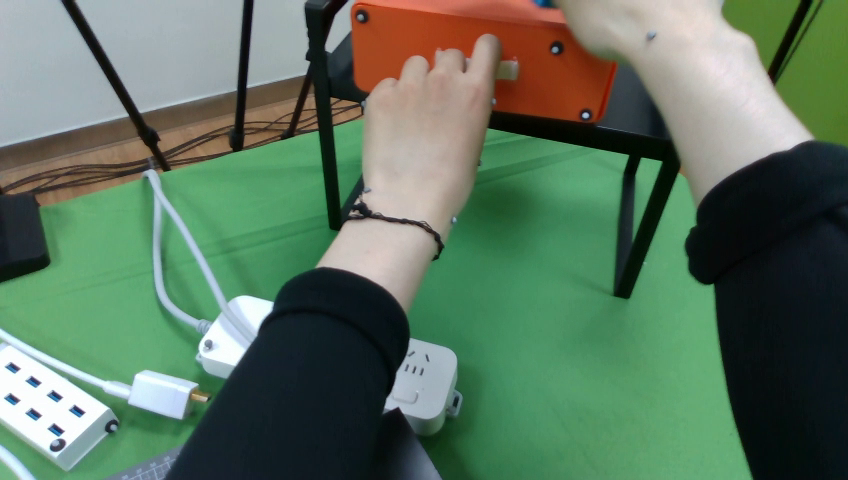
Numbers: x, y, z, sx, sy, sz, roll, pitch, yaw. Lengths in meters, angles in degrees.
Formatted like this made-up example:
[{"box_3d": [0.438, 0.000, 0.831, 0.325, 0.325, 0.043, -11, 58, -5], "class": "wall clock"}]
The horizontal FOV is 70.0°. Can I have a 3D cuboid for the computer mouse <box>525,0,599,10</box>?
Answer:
[{"box_3d": [0.074, -0.201, 0.418, 0.063, 0.041, 0.116, -18, 53, -30], "class": "computer mouse"}]

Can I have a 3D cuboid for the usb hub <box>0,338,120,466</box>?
[{"box_3d": [-0.304, 0.124, 0.473, 0.124, 0.025, 0.049, 23, 47, 19], "class": "usb hub"}]

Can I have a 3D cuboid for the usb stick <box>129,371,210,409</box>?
[{"box_3d": [-0.200, 0.120, 0.482, 0.059, 0.021, 0.027, 10, 87, -14], "class": "usb stick"}]

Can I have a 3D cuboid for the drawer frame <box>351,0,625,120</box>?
[{"box_3d": [0.061, -0.204, 0.531, 0.201, 0.083, 0.212, 8, 44, 6], "class": "drawer frame"}]

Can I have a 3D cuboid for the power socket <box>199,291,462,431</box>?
[{"box_3d": [-0.078, 0.098, 0.508, 0.226, 0.033, 0.072, 13, 45, 11], "class": "power socket"}]

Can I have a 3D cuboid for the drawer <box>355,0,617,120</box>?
[{"box_3d": [0.062, -0.200, 0.531, 0.194, 0.074, 0.210, 9, 44, 6], "class": "drawer"}]
